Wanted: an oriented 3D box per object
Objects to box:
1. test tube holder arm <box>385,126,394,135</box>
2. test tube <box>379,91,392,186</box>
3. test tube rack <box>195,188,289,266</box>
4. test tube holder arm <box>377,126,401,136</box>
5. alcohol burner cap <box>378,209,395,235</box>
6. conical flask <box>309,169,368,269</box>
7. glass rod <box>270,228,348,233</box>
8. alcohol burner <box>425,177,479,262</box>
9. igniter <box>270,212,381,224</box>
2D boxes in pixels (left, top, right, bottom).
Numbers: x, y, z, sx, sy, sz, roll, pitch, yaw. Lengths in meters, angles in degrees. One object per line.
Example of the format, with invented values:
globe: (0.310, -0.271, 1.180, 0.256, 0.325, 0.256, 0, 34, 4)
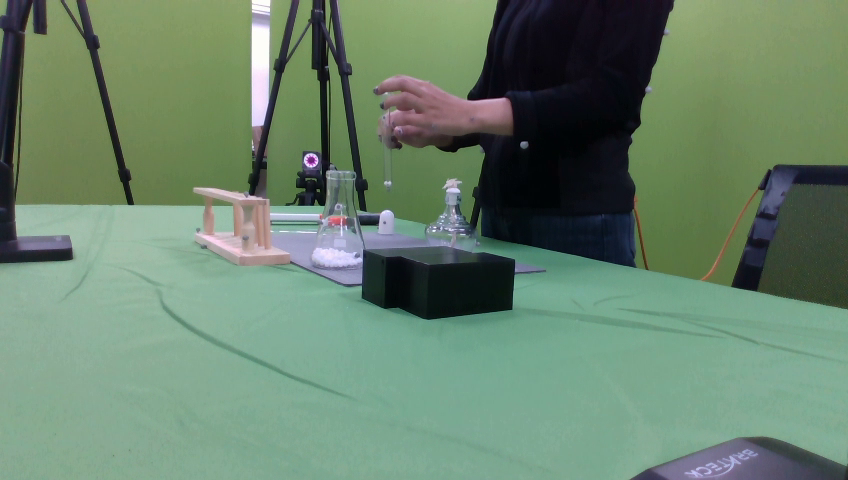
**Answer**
test tube holder arm: (-0.056, -0.179, 0.994, 0.010, 0.015, 0.088, 4, 10, -1)
test tube: (-0.061, -0.163, 0.973, 0.017, 0.150, 0.017, -2, 8, 1)
test tube rack: (-0.266, -0.025, 0.864, 0.067, 0.085, 0.241, -2, 8, -33)
test tube holder arm: (-0.058, -0.187, 1.039, 0.013, 0.015, 0.178, 5, 10, 6)
alcohol burner cap: (-0.070, -0.035, 1.144, 0.034, 0.048, 0.034, 2, 8, 0)
conical flask: (-0.107, -0.028, 0.762, 0.075, 0.122, 0.075, 2, 7, 0)
glass rod: (-0.235, -0.017, 1.105, 0.201, 0.008, 0.008, 1, 7, -26)
alcohol burner: (0.040, -0.029, 0.853, 0.078, 0.119, 0.078, 2, 9, 0)
igniter: (-0.213, -0.048, 1.279, 0.278, 0.025, 0.057, -1, -2, -25)
